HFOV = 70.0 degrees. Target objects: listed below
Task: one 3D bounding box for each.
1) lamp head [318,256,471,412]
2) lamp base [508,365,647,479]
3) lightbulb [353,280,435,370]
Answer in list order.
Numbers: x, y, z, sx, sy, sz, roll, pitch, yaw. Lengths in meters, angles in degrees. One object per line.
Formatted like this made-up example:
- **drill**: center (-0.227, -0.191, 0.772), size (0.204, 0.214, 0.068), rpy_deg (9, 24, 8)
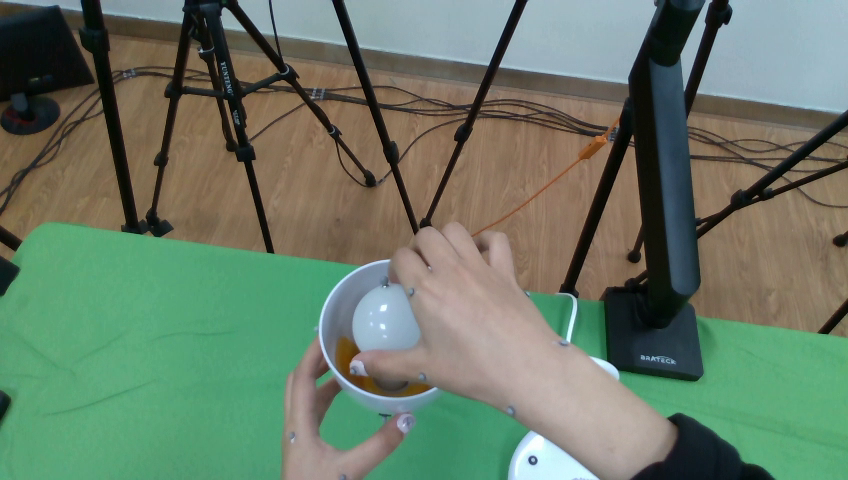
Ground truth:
- **lamp head**: center (-0.019, 0.087, 0.487), size (0.112, 0.124, 0.111), rpy_deg (-1, 60, 2)
- **lamp base**: center (0.177, 0.220, 0.633), size (0.161, 0.182, 0.177), rpy_deg (-4, 53, -7)
- **lightbulb**: center (-0.023, 0.071, 0.459), size (0.059, 0.108, 0.059), rpy_deg (2, 59, -3)
